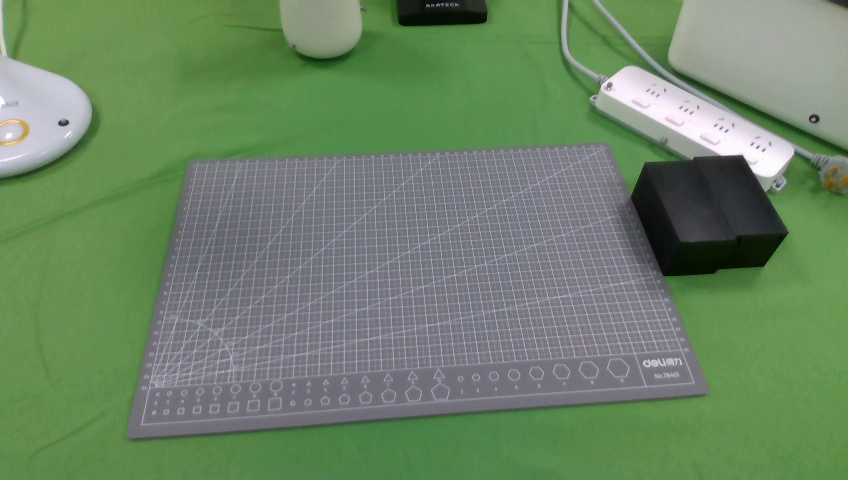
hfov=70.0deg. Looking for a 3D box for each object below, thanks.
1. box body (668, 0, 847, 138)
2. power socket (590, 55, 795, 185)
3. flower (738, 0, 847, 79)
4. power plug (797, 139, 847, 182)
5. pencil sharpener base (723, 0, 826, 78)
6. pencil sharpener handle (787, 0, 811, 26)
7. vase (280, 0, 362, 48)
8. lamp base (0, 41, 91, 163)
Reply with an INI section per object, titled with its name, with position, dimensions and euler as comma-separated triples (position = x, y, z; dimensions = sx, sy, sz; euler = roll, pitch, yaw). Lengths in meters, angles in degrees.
[box body]
position = 0.499, -0.254, 0.680
dimensions = 0.361, 0.162, 0.254
euler = 35, 59, 23
[power socket]
position = 0.292, -0.136, 0.665
dimensions = 0.225, 0.033, 0.072
euler = 38, 59, 25
[flower]
position = 0.504, -0.218, 0.742
dimensions = 0.044, 0.038, 0.358
euler = -31, 62, 5
[power plug]
position = 0.419, -0.081, 0.634
dimensions = 0.053, 0.035, 0.072
euler = -25, 25, -30
[pencil sharpener base]
position = 0.412, -0.258, 0.706
dimensions = 0.076, 0.108, 0.061
euler = -34, 60, -26
[pencil sharpener handle]
position = 0.452, -0.290, 0.718
dimensions = 0.030, 0.068, 0.035
euler = -34, 54, -26
[vase]
position = -0.124, -0.327, 0.696
dimensions = 0.098, 0.202, 0.097
euler = 1, 51, -1
[lamp base]
position = -0.449, -0.195, 0.593
dimensions = 0.161, 0.182, 0.177
euler = -29, 56, -22
